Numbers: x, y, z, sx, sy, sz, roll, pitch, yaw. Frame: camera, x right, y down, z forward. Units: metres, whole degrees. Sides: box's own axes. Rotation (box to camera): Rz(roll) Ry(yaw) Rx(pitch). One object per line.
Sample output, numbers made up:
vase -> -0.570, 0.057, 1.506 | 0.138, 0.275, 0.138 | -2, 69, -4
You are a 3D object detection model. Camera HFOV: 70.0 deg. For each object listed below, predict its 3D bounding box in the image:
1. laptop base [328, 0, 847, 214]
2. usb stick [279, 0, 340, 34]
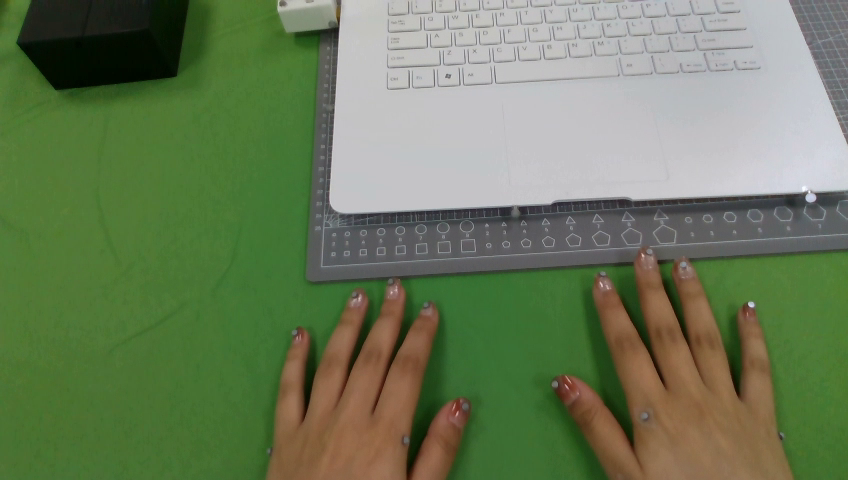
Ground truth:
laptop base -> 0.109, -0.126, 0.458 | 0.354, 0.023, 0.233 | -3, 65, 2
usb stick -> -0.085, -0.186, 0.492 | 0.059, 0.027, 0.021 | -5, 60, 2
